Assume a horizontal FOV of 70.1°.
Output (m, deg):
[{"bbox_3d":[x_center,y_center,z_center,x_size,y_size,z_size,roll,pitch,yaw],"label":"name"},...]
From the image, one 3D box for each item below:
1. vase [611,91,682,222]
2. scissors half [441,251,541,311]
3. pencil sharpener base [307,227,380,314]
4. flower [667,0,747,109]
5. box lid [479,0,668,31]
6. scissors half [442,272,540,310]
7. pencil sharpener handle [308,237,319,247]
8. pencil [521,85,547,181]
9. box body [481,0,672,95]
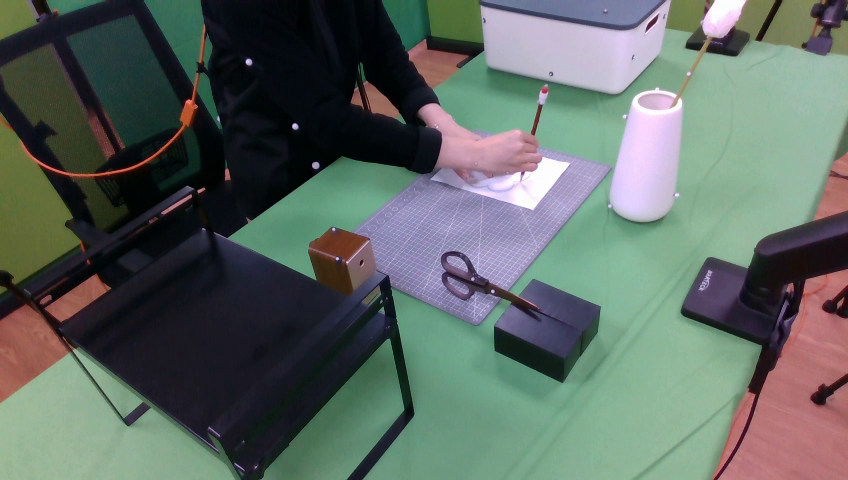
[{"bbox_3d":[0.348,-0.125,0.935,0.098,0.201,0.097,-3,40,3],"label":"vase"},{"bbox_3d":[0.087,0.056,0.824,0.173,0.040,0.013,29,44,36],"label":"scissors half"},{"bbox_3d":[-0.116,0.043,0.875,0.076,0.107,0.061,18,47,27],"label":"pencil sharpener base"},{"bbox_3d":[0.354,-0.187,0.879,0.038,0.362,0.044,31,48,14],"label":"flower"},{"bbox_3d":[0.335,-0.536,1.331,0.368,0.015,0.264,23,49,30],"label":"box lid"},{"bbox_3d":[0.089,0.074,0.833,0.013,0.040,0.173,-24,23,-38],"label":"scissors half"},{"bbox_3d":[-0.159,0.017,0.892,0.030,0.068,0.036,18,61,28],"label":"pencil sharpener handle"},{"bbox_3d":[0.181,-0.173,1.014,0.012,0.194,0.012,3,47,-3],"label":"pencil"},{"bbox_3d":[0.341,-0.480,1.381,0.361,0.161,0.255,22,48,30],"label":"box body"}]
